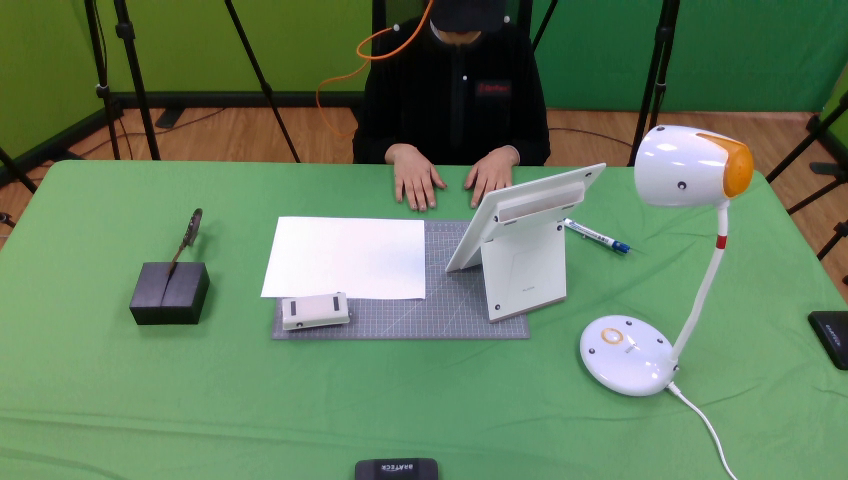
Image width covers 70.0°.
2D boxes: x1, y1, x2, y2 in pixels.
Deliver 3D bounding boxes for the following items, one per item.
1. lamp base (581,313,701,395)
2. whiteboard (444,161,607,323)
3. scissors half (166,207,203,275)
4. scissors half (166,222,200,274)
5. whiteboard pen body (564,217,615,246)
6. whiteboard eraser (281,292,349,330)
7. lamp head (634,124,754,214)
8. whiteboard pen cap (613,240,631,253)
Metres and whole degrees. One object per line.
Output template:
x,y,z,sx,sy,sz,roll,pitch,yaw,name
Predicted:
0.361,0.144,0.973,0.178,0.181,0.160,34,53,23,lamp base
0.186,0.025,1.029,0.217,0.306,0.143,-14,68,-18,whiteboard
-0.436,0.000,1.104,0.013,0.040,0.174,21,44,-14,scissors half
-0.444,0.014,1.116,0.013,0.040,0.174,17,27,-10,scissors half
0.346,-0.013,1.233,0.140,0.017,0.017,29,51,26,whiteboard pen body
-0.189,0.124,1.045,0.113,0.042,0.055,-6,46,-10,whiteboard eraser
0.351,-0.089,0.776,0.112,0.113,0.122,-30,30,-28,lamp head
0.393,0.012,1.207,0.033,0.018,0.018,27,50,28,whiteboard pen cap
